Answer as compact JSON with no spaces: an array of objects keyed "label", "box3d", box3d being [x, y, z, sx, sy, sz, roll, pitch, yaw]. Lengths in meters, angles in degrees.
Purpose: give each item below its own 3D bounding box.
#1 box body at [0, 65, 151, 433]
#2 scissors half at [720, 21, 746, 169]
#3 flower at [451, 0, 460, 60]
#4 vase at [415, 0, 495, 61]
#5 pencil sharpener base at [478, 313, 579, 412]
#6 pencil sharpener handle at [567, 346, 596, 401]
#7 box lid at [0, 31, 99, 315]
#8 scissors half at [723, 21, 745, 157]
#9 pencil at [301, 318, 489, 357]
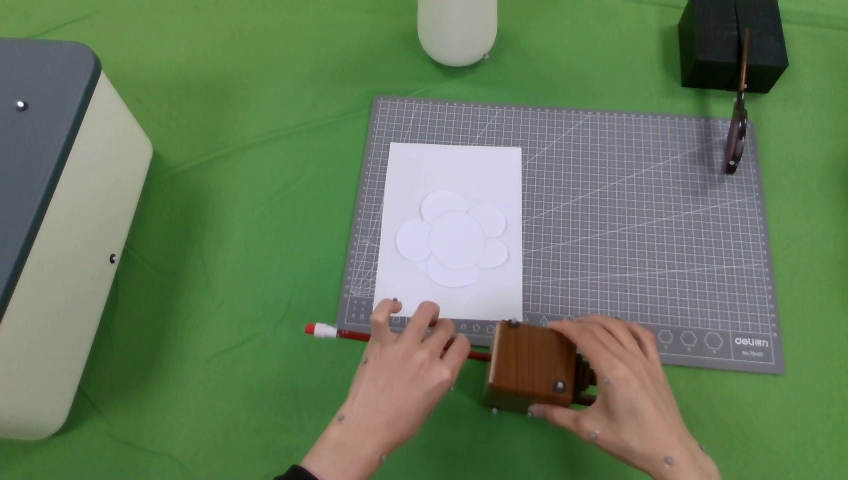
[{"label":"box body","box3d":[-0.453,-0.007,0.590,0.254,0.161,0.361,5,67,4]},{"label":"scissors half","box3d":[0.349,-0.164,0.679,0.012,0.040,0.175,9,86,20]},{"label":"flower","box3d":[0.025,-0.342,0.607,0.044,0.365,0.038,-2,49,5]},{"label":"vase","box3d":[0.034,-0.296,0.678,0.098,0.201,0.097,-1,66,3]},{"label":"pencil sharpener base","box3d":[0.094,0.115,0.553,0.076,0.108,0.061,10,67,5]},{"label":"pencil sharpener handle","box3d":[0.143,0.122,0.536,0.030,0.068,0.035,10,51,5]},{"label":"box lid","box3d":[-0.455,-0.039,0.521,0.263,0.015,0.369,5,67,3]},{"label":"scissors half","box3d":[0.344,-0.169,0.660,0.013,0.040,0.174,10,68,15]},{"label":"pencil","box3d":[-0.013,0.088,0.534,0.194,0.012,0.012,9,67,2]}]
